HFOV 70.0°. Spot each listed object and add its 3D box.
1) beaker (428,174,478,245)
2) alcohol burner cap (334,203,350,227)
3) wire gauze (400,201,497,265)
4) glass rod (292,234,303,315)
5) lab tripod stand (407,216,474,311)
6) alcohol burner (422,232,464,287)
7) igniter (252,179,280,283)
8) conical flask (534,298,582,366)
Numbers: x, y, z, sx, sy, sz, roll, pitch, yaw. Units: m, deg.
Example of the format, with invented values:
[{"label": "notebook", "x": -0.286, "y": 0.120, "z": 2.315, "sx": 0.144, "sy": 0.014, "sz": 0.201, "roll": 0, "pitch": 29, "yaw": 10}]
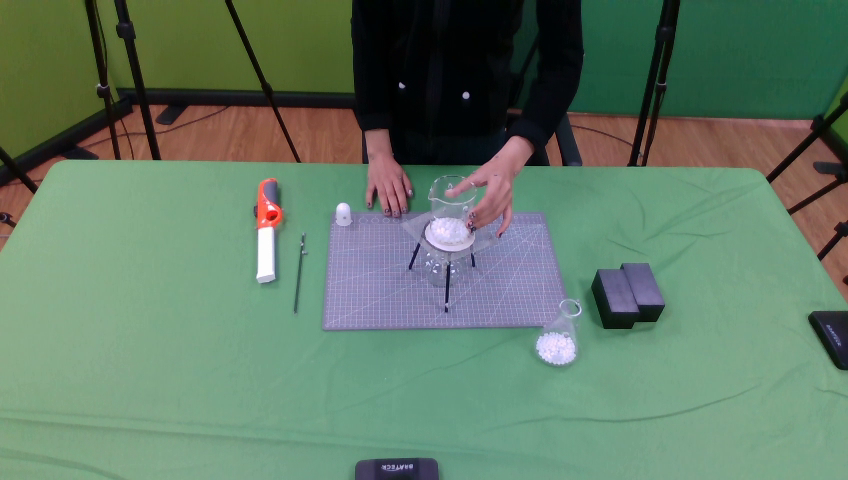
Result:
[{"label": "beaker", "x": 0.043, "y": -0.047, "z": 1.008, "sx": 0.084, "sy": 0.101, "sz": 0.073, "roll": -15, "pitch": 47, "yaw": -18}, {"label": "alcohol burner cap", "x": -0.166, "y": -0.053, "z": 1.220, "sx": 0.034, "sy": 0.048, "sz": 0.033, "roll": 2, "pitch": 46, "yaw": -2}, {"label": "wire gauze", "x": 0.042, "y": -0.013, "z": 1.043, "sx": 0.125, "sy": 0.011, "sz": 0.120, "roll": -23, "pitch": 49, "yaw": -24}, {"label": "glass rod", "x": -0.236, "y": 0.059, "z": 1.134, "sx": 0.008, "sy": 0.008, "sz": 0.198, "roll": -1, "pitch": 46, "yaw": -4}, {"label": "lab tripod stand", "x": 0.039, "y": 0.030, "z": 1.093, "sx": 0.148, "sy": 0.132, "sz": 0.147, "roll": 2, "pitch": 44, "yaw": -2}, {"label": "alcohol burner", "x": 0.035, "y": 0.030, "z": 1.107, "sx": 0.078, "sy": 0.120, "sz": 0.077, "roll": 1, "pitch": 47, "yaw": -1}, {"label": "igniter", "x": -0.313, "y": -0.027, "z": 1.197, "sx": 0.057, "sy": 0.025, "sz": 0.274, "roll": -12, "pitch": 47, "yaw": -1}, {"label": "conical flask", "x": 0.229, "y": 0.149, "z": 1.005, "sx": 0.075, "sy": 0.122, "sz": 0.075, "roll": 2, "pitch": 46, "yaw": -2}]
